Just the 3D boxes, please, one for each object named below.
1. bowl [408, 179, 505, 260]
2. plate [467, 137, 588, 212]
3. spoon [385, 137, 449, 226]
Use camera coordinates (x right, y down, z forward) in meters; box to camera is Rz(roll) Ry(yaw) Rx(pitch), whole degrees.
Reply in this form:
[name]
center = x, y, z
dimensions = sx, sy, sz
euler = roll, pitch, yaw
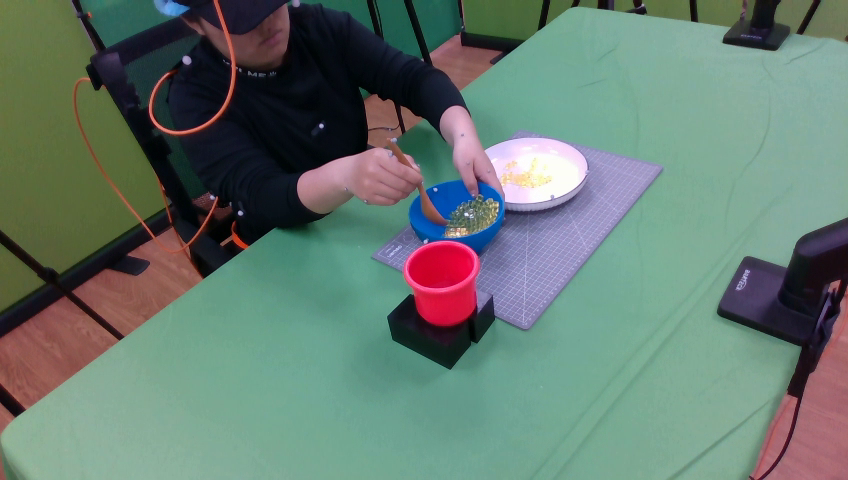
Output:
[bowl]
center = 0.054, -0.022, 0.950
dimensions = 0.151, 0.077, 0.150
euler = -5, 40, 5
[plate]
center = 0.181, -0.111, 1.064
dimensions = 0.207, 0.039, 0.206
euler = -5, 40, 5
[spoon]
center = -0.010, -0.078, 0.848
dimensions = 0.041, 0.195, 0.021
euler = 23, 65, 39
